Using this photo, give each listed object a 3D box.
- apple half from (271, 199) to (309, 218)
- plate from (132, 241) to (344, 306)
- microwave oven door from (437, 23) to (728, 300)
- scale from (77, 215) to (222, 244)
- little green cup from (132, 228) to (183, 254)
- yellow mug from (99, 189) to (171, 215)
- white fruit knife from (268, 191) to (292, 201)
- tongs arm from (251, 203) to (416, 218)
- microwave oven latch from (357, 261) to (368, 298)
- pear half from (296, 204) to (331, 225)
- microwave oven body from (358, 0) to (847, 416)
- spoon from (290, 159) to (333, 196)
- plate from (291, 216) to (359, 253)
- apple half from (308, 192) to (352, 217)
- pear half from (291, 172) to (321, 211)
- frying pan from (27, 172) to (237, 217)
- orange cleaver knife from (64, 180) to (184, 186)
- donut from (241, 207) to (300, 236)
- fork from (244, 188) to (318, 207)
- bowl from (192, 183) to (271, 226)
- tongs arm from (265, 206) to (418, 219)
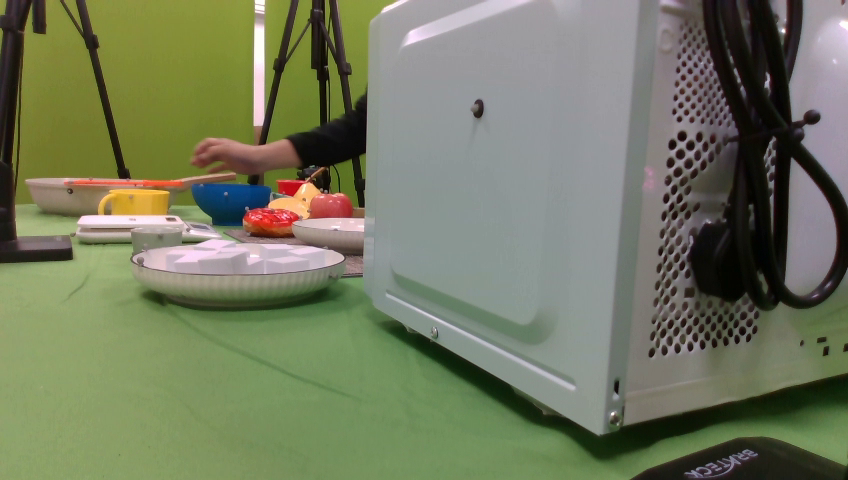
[{"bbox_3d":[-0.254,-0.038,1.143,0.081,0.032,0.081,17,45,-18],"label":"apple half"},{"bbox_3d":[-0.187,0.033,0.625,0.208,0.039,0.207,2,7,0],"label":"plate"},{"bbox_3d":[0.180,-0.073,0.621,0.358,0.243,0.039,-2,8,-29],"label":"microwave oven door"},{"bbox_3d":[-0.434,-0.019,0.963,0.202,0.031,0.148,-1,9,-27],"label":"scale"},{"bbox_3d":[-0.342,0.006,0.779,0.061,0.038,0.061,2,8,0],"label":"little green cup"},{"bbox_3d":[-0.519,-0.055,1.080,0.099,0.064,0.131,7,9,26],"label":"yellow mug"},{"bbox_3d":[-0.364,-0.105,1.464,0.208,0.027,0.016,15,0,-34],"label":"white fruit knife"},{"bbox_3d":[-0.210,-0.070,1.439,0.389,0.027,0.028,1,0,-17],"label":"tongs arm"},{"bbox_3d":[-0.019,0.033,0.530,0.079,0.029,0.030,-1,7,-26],"label":"microwave oven latch"},{"bbox_3d":[-0.229,-0.050,1.258,0.070,0.031,0.088,-1,17,-3],"label":"pear half"},{"bbox_3d":[0.211,-0.047,0.474,0.444,0.260,0.324,-1,7,-28],"label":"microwave oven body"},{"bbox_3d":[-0.316,-0.159,1.640,0.194,0.022,0.041,-49,32,-20],"label":"spoon"},{"bbox_3d":[-0.103,-0.009,0.945,0.209,0.038,0.209,2,8,0],"label":"plate"},{"bbox_3d":[-0.165,-0.050,1.106,0.081,0.074,0.053,2,10,-41],"label":"apple half"},{"bbox_3d":[-0.228,-0.077,1.183,0.076,0.110,0.056,-3,8,2],"label":"pear half"},{"bbox_3d":[-0.624,-0.118,1.387,0.305,0.102,0.490,8,17,32],"label":"frying pan"},{"bbox_3d":[-0.595,-0.114,1.212,0.212,0.012,0.077,-4,6,-41],"label":"orange cleaver knife"},{"bbox_3d":[-0.263,-0.031,1.039,0.099,0.048,0.099,5,9,0],"label":"donut"},{"bbox_3d":[-0.356,-0.105,1.526,0.208,0.018,0.028,16,-5,-41],"label":"fork"},{"bbox_3d":[-0.381,-0.071,1.202,0.151,0.077,0.151,3,8,0],"label":"bowl"},{"bbox_3d":[-0.173,-0.061,1.363,0.387,0.026,0.050,-1,5,-31],"label":"tongs arm"}]
